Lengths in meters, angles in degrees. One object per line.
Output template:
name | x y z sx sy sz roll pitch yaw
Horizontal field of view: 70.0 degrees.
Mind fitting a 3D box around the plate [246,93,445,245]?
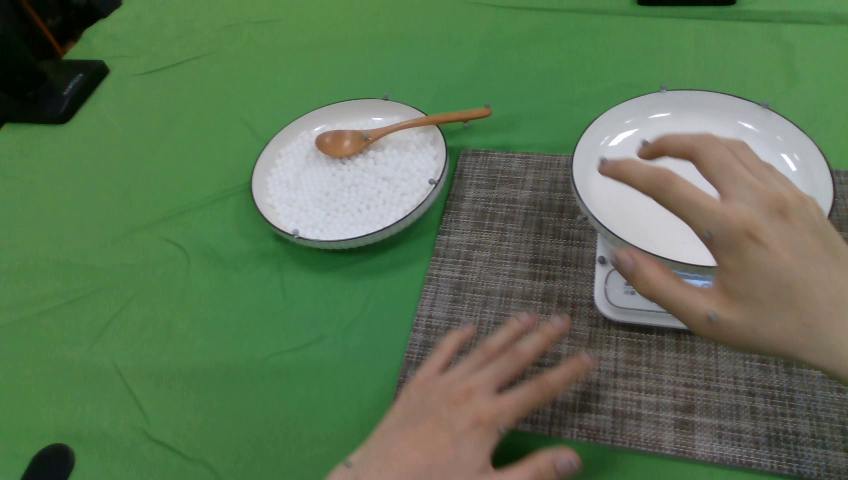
plate | -0.080 -0.074 0.637 0.209 0.038 0.207 -4 53 6

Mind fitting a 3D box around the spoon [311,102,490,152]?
spoon | -0.026 -0.124 0.646 0.193 0.022 0.041 -11 51 11

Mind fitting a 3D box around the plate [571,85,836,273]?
plate | 0.232 -0.054 0.524 0.207 0.039 0.205 -4 52 6

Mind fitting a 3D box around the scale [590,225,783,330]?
scale | 0.229 -0.018 0.539 0.148 0.032 0.199 5 54 14
